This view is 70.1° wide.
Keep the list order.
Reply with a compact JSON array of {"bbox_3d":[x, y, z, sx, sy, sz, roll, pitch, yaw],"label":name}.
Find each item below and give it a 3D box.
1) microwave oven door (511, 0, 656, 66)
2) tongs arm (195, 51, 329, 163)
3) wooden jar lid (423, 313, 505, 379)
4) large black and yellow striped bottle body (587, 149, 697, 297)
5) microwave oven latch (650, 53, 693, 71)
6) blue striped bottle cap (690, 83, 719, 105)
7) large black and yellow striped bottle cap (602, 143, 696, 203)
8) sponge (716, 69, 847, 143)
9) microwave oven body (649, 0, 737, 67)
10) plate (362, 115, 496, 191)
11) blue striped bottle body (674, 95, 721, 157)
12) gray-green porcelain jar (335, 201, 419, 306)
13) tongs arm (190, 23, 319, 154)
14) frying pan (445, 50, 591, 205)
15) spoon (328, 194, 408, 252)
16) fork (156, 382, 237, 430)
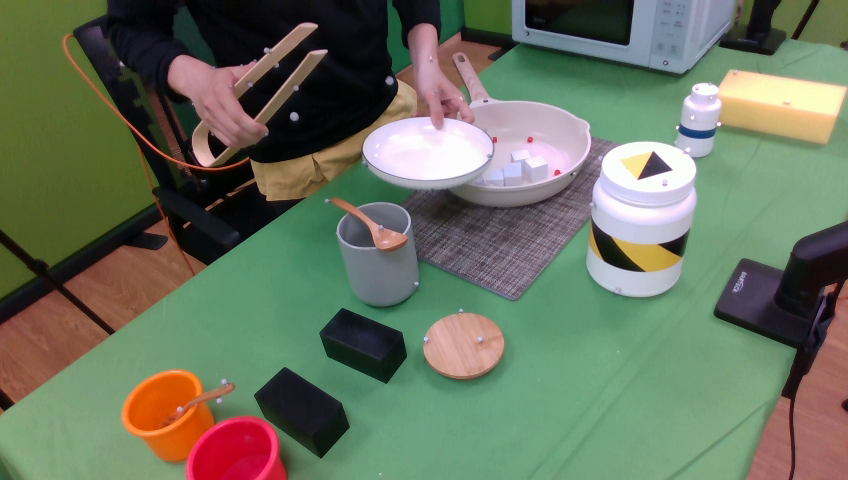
[{"bbox_3d":[0.350,-0.539,1.349,0.353,0.245,0.039,24,50,31],"label":"microwave oven door"},{"bbox_3d":[-0.231,-0.167,0.813,0.028,0.028,0.385,-31,7,-40],"label":"tongs arm"},{"bbox_3d":[0.053,0.142,0.800,0.108,0.021,0.108,-5,39,4],"label":"wooden jar lid"},{"bbox_3d":[0.298,-0.026,0.835,0.131,0.185,0.130,-4,41,4],"label":"large black and yellow striped bottle body"},{"bbox_3d":[0.531,-0.386,1.301,0.078,0.029,0.030,26,51,33],"label":"microwave oven latch"},{"bbox_3d":[0.481,-0.251,1.038,0.044,0.021,0.044,-5,40,5],"label":"blue striped bottle cap"},{"bbox_3d":[0.289,-0.088,0.779,0.115,0.019,0.114,-5,39,4],"label":"large black and yellow striped bottle cap"},{"bbox_3d":[0.663,-0.256,1.142,0.205,0.061,0.118,19,47,28],"label":"sponge"},{"bbox_3d":[0.475,-0.602,1.411,0.438,0.261,0.327,23,50,32],"label":"microwave oven body"},{"bbox_3d":[0.008,-0.132,0.939,0.208,0.039,0.206,1,37,0],"label":"plate"},{"bbox_3d":[0.486,-0.213,1.072,0.063,0.121,0.063,-4,41,4],"label":"blue striped bottle body"},{"bbox_3d":[-0.064,0.024,0.872,0.106,0.127,0.105,-4,41,4],"label":"gray-green porcelain jar"},{"bbox_3d":[-0.240,-0.188,0.811,0.027,0.051,0.382,-27,9,-40],"label":"tongs arm"},{"bbox_3d":[0.127,-0.233,1.155,0.307,0.103,0.484,-10,49,-5],"label":"frying pan"},{"bbox_3d":[-0.083,-0.030,0.829,0.042,0.022,0.192,-35,44,-18],"label":"spoon"},{"bbox_3d":[-0.262,0.189,0.690,0.206,0.018,0.028,-34,9,42],"label":"fork"}]
